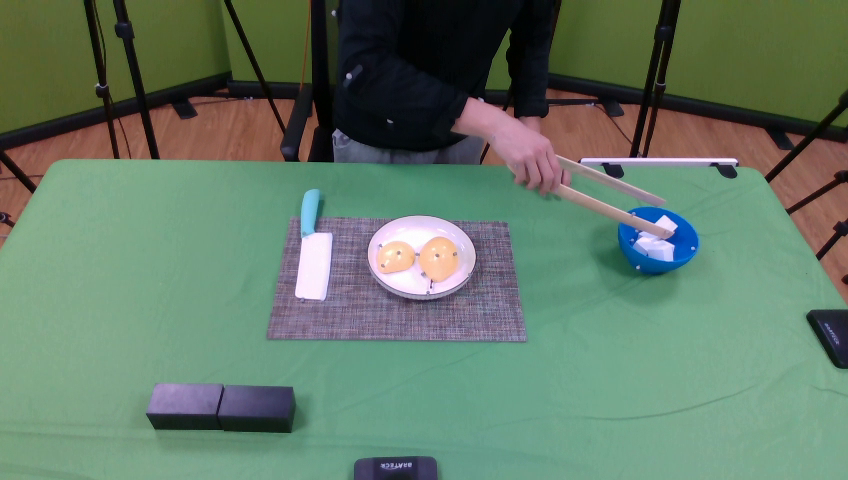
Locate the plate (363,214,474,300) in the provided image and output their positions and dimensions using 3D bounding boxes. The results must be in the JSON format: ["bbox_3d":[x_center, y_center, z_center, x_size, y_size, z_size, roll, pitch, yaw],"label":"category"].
[{"bbox_3d":[-0.010,0.036,1.146,0.208,0.039,0.206,2,46,-2],"label":"plate"}]

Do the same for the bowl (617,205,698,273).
[{"bbox_3d":[0.443,0.011,1.182,0.151,0.077,0.150,2,46,-2],"label":"bowl"}]

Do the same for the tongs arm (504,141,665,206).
[{"bbox_3d":[0.305,-0.116,1.109,0.389,0.028,0.028,15,60,-28],"label":"tongs arm"}]

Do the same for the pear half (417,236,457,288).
[{"bbox_3d":[0.022,0.039,1.127,0.076,0.056,0.109,5,50,7],"label":"pear half"}]

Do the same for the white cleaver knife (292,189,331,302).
[{"bbox_3d":[-0.215,0.006,1.178,0.066,0.021,0.284,5,49,-12],"label":"white cleaver knife"}]

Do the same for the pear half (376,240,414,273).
[{"bbox_3d":[-0.058,0.026,1.146,0.070,0.031,0.088,22,43,22],"label":"pear half"}]

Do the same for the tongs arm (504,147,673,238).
[{"bbox_3d":[0.305,-0.078,1.085,0.386,0.026,0.050,17,56,-27],"label":"tongs arm"}]
